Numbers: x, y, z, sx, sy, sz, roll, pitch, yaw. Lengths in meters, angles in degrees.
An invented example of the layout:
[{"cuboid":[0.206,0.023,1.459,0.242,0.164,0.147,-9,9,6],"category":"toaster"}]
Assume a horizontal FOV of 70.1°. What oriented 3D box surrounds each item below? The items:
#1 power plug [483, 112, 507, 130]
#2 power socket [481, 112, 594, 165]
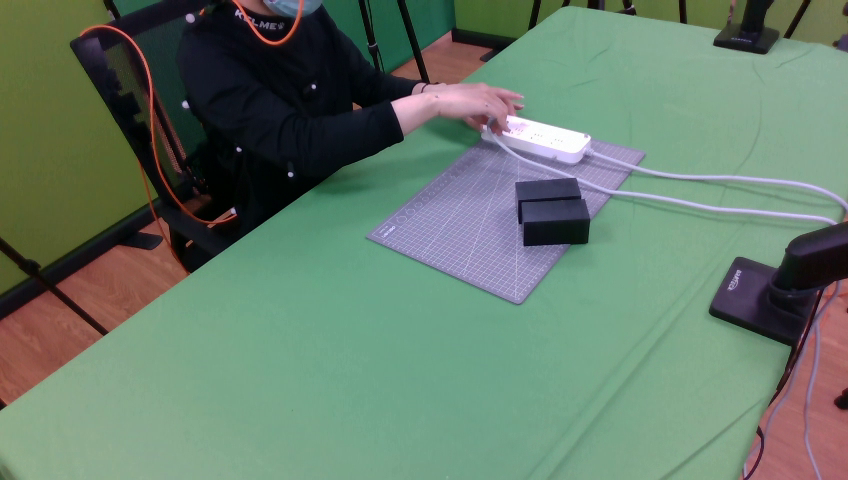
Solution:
[{"cuboid":[0.129,-0.218,1.161,0.073,0.053,0.035,-36,49,-25],"category":"power plug"},{"cuboid":[0.210,-0.196,1.154,0.225,0.033,0.072,23,49,29],"category":"power socket"}]
